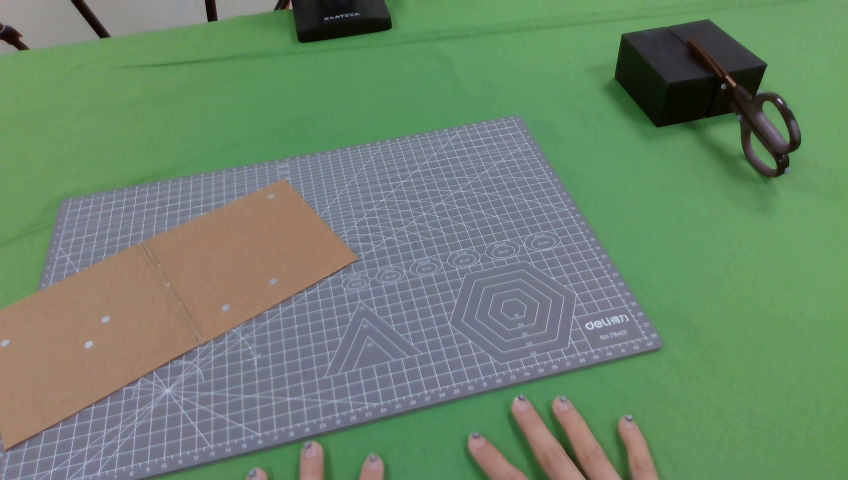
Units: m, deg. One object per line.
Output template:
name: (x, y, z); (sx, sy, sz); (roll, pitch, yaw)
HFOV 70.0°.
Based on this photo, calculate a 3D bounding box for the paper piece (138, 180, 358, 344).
paper piece: (-0.148, 0.009, 0.506); (0.138, 0.009, 0.134); (-28, 54, -23)

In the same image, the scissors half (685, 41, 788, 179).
scissors half: (0.285, -0.126, 0.567); (0.013, 0.040, 0.173); (-16, 63, -4)

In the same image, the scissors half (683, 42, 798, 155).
scissors half: (0.281, -0.138, 0.551); (0.013, 0.040, 0.173); (-19, 45, 0)

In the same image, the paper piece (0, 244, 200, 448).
paper piece: (-0.256, 0.069, 0.453); (0.136, 0.004, 0.134); (-29, 49, -23)
